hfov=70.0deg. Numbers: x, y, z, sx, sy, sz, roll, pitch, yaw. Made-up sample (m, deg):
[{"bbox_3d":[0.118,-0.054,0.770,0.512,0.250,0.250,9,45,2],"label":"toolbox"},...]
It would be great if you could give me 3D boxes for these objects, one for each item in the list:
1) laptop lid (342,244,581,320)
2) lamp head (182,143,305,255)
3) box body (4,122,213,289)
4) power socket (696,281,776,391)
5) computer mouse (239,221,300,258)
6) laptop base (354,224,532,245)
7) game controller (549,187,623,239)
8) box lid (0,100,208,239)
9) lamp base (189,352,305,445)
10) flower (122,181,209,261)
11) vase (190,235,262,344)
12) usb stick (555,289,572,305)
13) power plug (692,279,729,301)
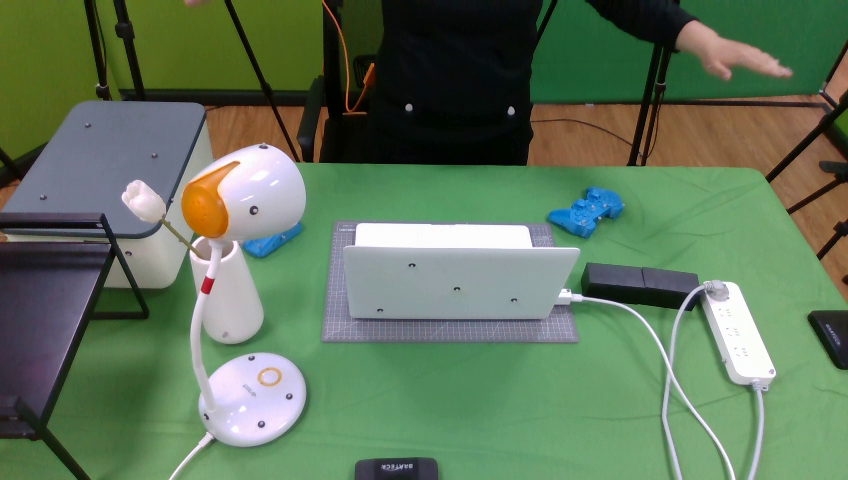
[{"bbox_3d":[0.051,0.073,0.969,0.357,0.243,0.013,1,56,-5],"label":"laptop lid"},{"bbox_3d":[-0.216,-0.044,0.697,0.112,0.113,0.123,23,31,17],"label":"lamp head"},{"bbox_3d":[-0.563,-0.088,1.139,0.254,0.161,0.361,2,46,-3],"label":"box body"},{"bbox_3d":[0.550,0.160,1.078,0.072,0.033,0.225,2,46,-1],"label":"power socket"},{"bbox_3d":[-0.300,-0.016,1.178,0.062,0.041,0.117,35,57,22],"label":"computer mouse"},{"bbox_3d":[0.040,0.056,1.149,0.355,0.023,0.234,1,43,-4],"label":"laptop base"},{"bbox_3d":[0.345,-0.065,1.272,0.155,0.052,0.096,-31,58,-28],"label":"game controller"},{"bbox_3d":[-0.559,-0.138,1.085,0.263,0.015,0.369,2,46,-2],"label":"box lid"},{"bbox_3d":[-0.268,0.196,0.876,0.160,0.181,0.179,25,52,19],"label":"lamp base"},{"bbox_3d":[-0.329,0.029,0.905,0.038,0.364,0.044,-22,58,-1],"label":"flower"},{"bbox_3d":[-0.317,0.081,0.971,0.098,0.201,0.097,3,47,-3],"label":"vase"},{"bbox_3d":[0.236,0.103,1.101,0.059,0.027,0.021,0,48,1],"label":"usb stick"},{"bbox_3d":[0.522,0.092,1.115,0.072,0.053,0.035,8,46,7],"label":"power plug"}]
